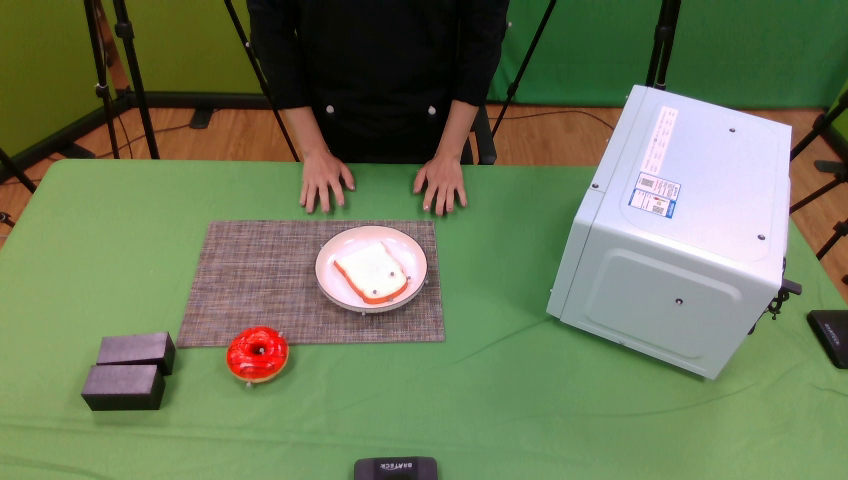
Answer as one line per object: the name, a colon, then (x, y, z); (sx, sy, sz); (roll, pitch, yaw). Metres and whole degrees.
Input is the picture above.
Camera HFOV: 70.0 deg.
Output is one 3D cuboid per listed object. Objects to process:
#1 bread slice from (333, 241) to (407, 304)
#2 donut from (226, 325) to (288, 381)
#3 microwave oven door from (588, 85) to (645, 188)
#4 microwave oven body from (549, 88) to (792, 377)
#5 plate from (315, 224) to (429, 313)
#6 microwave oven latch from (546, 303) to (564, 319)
bread slice: (-0.092, 0.060, 1.117); (0.105, 0.019, 0.130); (-24, 52, -24)
donut: (-0.270, 0.182, 0.984); (0.099, 0.048, 0.098); (5, 49, -5)
microwave oven door: (0.342, -0.107, 1.149); (0.039, 0.245, 0.354); (20, 48, 15)
microwave oven body: (0.456, -0.028, 1.088); (0.325, 0.261, 0.440); (20, 47, 16)
plate: (-0.096, 0.055, 1.121); (0.208, 0.039, 0.206); (2, 46, -2)
microwave oven latch: (0.242, 0.102, 1.081); (0.030, 0.029, 0.079); (21, 48, 17)
